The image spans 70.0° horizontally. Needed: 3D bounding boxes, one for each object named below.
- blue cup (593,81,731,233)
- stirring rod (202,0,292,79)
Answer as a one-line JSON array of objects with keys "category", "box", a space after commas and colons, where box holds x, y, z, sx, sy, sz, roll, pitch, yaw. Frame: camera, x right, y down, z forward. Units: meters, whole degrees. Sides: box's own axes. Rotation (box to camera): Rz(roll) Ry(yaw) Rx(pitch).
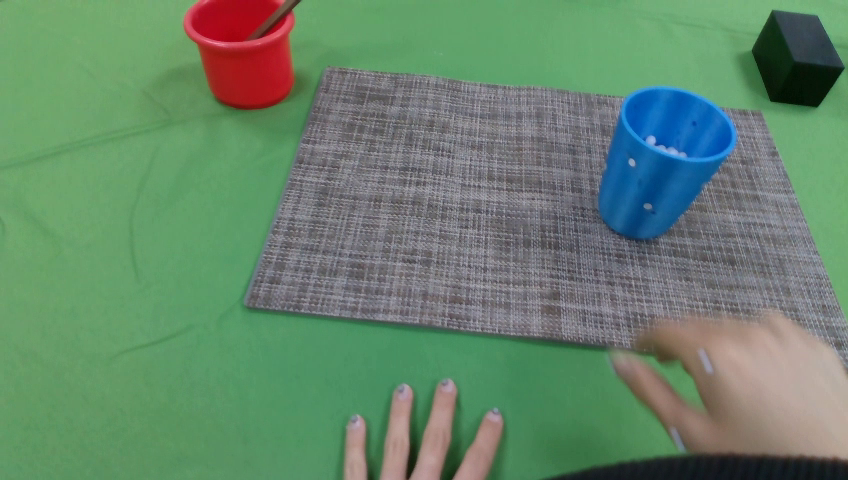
[{"category": "blue cup", "box": [0.178, -0.059, 0.481, 0.093, 0.101, 0.091, 3, 51, -3]}, {"category": "stirring rod", "box": [-0.145, -0.206, 0.558, 0.176, 0.006, 0.014, -34, 50, 19]}]
